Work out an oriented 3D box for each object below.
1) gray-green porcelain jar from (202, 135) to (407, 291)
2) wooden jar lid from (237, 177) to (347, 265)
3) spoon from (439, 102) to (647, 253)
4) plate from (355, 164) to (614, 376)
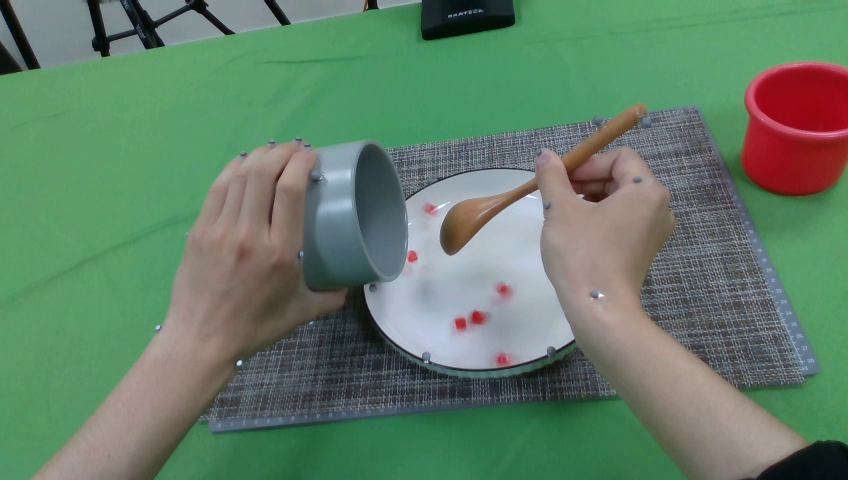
[{"bbox_3d":[-0.089,-0.017,0.455,0.126,0.107,0.105,-6,49,17],"label":"gray-green porcelain jar"},{"bbox_3d":[-0.126,-0.017,0.587,0.108,0.021,0.107,-6,49,7],"label":"wooden jar lid"},{"bbox_3d":[0.073,-0.041,0.429,0.193,0.022,0.041,-31,47,38],"label":"spoon"},{"bbox_3d":[0.048,0.023,0.499,0.207,0.039,0.205,-7,50,8],"label":"plate"}]
